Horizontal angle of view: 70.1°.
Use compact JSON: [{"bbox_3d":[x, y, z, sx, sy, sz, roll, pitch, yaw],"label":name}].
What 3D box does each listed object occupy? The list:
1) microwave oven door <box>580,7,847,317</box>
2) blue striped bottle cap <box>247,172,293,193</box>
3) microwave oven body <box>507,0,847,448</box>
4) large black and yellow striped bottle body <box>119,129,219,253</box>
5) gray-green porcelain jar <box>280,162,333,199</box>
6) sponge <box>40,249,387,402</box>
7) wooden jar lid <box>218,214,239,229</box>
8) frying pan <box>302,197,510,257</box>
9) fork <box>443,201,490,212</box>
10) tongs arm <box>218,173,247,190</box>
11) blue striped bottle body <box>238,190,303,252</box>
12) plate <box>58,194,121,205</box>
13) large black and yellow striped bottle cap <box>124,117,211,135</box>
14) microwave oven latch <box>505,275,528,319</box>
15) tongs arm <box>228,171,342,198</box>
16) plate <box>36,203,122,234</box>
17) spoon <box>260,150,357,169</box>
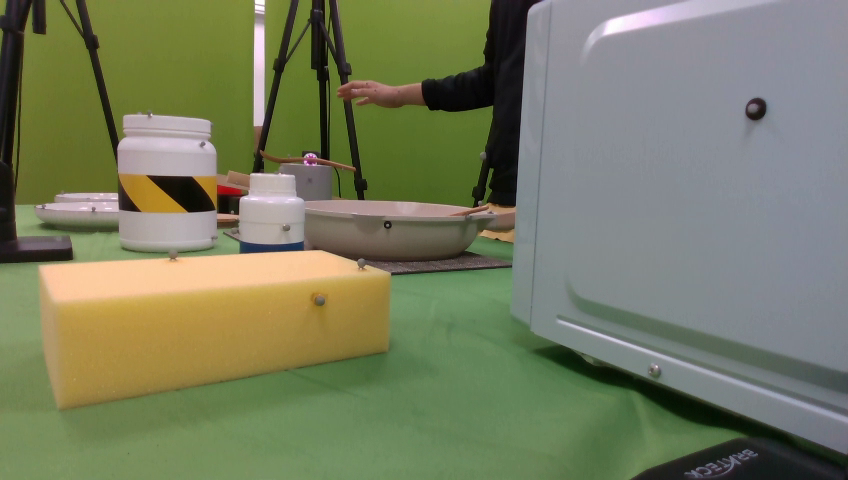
[{"bbox_3d":[0.295,-0.067,0.570,0.358,0.243,0.039,-3,9,-31],"label":"microwave oven door"},{"bbox_3d":[-0.152,-0.057,0.598,0.044,0.020,0.044,3,7,0],"label":"blue striped bottle cap"},{"bbox_3d":[0.331,-0.042,0.425,0.444,0.260,0.324,-2,8,-31],"label":"microwave oven body"},{"bbox_3d":[-0.367,-0.080,0.876,0.131,0.184,0.130,2,7,0],"label":"large black and yellow striped bottle body"},{"bbox_3d":[-0.238,-0.092,1.221,0.106,0.126,0.106,2,7,0],"label":"gray-green porcelain jar"},{"bbox_3d":[-0.142,0.047,0.420,0.208,0.061,0.117,-3,8,-36],"label":"sponge"},{"bbox_3d":[-0.404,-0.037,1.169,0.108,0.020,0.108,3,7,0],"label":"wooden jar lid"},{"bbox_3d":[0.050,-0.035,0.915,0.487,0.102,0.307,-5,7,10],"label":"frying pan"},{"bbox_3d":[-0.006,-0.020,0.852,0.207,0.018,0.028,-22,-4,10],"label":"fork"},{"bbox_3d":[-0.315,-0.110,1.448,0.389,0.027,0.028,11,-7,-26],"label":"tongs arm"},{"bbox_3d":[-0.153,-0.007,0.606,0.063,0.120,0.063,2,8,0],"label":"blue striped bottle body"},{"bbox_3d":[-0.671,-0.074,1.310,0.209,0.038,0.209,2,8,0],"label":"plate"},{"bbox_3d":[-0.366,-0.163,0.866,0.115,0.019,0.115,3,7,0],"label":"large black and yellow striped bottle cap"},{"bbox_3d":[0.100,0.042,0.471,0.079,0.029,0.030,-1,7,-28],"label":"microwave oven latch"},{"bbox_3d":[-0.267,-0.103,1.378,0.387,0.026,0.050,11,-3,-40],"label":"tongs arm"},{"bbox_3d":[-0.571,-0.040,1.083,0.208,0.039,0.207,2,8,0],"label":"plate"},{"bbox_3d":[-0.231,-0.162,1.221,0.194,0.021,0.041,3,3,-16],"label":"spoon"}]
